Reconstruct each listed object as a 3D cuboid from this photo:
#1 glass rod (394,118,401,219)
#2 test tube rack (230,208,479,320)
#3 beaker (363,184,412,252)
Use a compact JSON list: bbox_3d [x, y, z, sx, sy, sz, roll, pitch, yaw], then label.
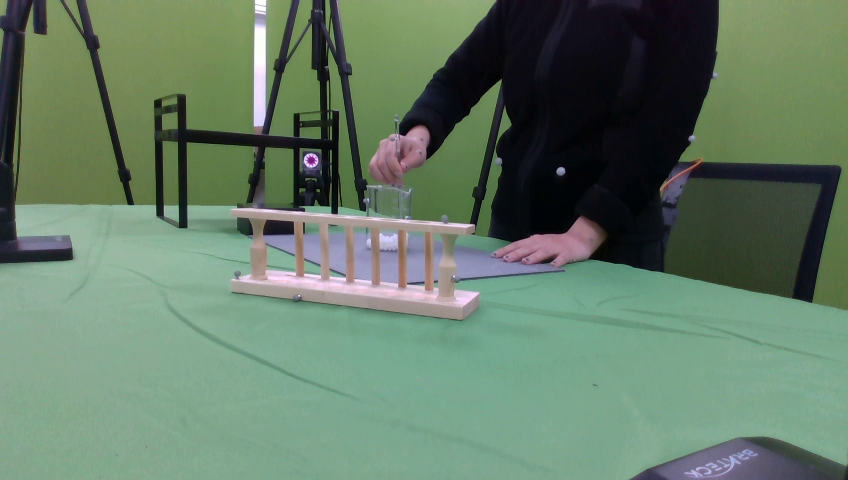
[{"bbox_3d":[-0.041,-0.086,0.928,0.008,0.199,0.008,-1,10,1],"label":"glass rod"},{"bbox_3d":[-0.069,0.017,0.598,0.242,0.085,0.067,5,8,18],"label":"test tube rack"},{"bbox_3d":[-0.055,-0.034,0.935,0.074,0.100,0.083,-5,11,-44],"label":"beaker"}]
